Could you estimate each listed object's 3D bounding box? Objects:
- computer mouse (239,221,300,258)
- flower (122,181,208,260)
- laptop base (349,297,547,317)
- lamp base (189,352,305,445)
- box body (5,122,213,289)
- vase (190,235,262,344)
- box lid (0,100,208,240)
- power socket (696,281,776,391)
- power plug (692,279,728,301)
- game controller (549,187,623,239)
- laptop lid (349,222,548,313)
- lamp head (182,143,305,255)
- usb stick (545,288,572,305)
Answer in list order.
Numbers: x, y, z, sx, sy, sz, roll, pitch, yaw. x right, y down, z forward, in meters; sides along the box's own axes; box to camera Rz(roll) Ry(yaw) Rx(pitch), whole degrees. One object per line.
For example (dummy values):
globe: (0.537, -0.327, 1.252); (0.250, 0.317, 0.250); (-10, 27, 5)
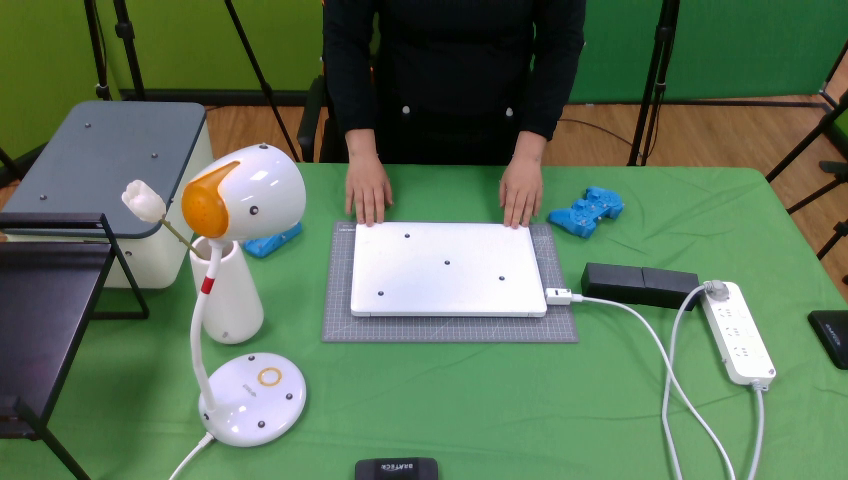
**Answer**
computer mouse: (-0.301, -0.016, 1.179); (0.062, 0.041, 0.117); (35, 57, 23)
flower: (-0.329, 0.029, 0.905); (0.038, 0.364, 0.044); (-21, 58, -1)
laptop base: (0.041, 0.056, 1.149); (0.355, 0.023, 0.234); (0, 42, -4)
lamp base: (-0.268, 0.196, 0.876); (0.160, 0.181, 0.179); (25, 52, 20)
box body: (-0.563, -0.088, 1.140); (0.254, 0.161, 0.361); (2, 46, -3)
vase: (-0.317, 0.081, 0.971); (0.098, 0.201, 0.097); (3, 47, -3)
box lid: (-0.559, -0.138, 1.085); (0.263, 0.015, 0.369); (2, 46, -2)
power socket: (0.550, 0.160, 1.078); (0.072, 0.033, 0.225); (2, 46, -1)
power plug: (0.522, 0.092, 1.115); (0.072, 0.053, 0.035); (8, 46, 7)
game controller: (0.345, -0.065, 1.272); (0.155, 0.052, 0.096); (-31, 58, -29)
laptop lid: (0.041, 0.046, 1.143); (0.357, 0.013, 0.240); (2, 43, -3)
lamp head: (-0.216, -0.044, 0.697); (0.112, 0.113, 0.123); (23, 31, 17)
usb stick: (0.236, 0.103, 1.101); (0.059, 0.027, 0.021); (0, 49, 1)
